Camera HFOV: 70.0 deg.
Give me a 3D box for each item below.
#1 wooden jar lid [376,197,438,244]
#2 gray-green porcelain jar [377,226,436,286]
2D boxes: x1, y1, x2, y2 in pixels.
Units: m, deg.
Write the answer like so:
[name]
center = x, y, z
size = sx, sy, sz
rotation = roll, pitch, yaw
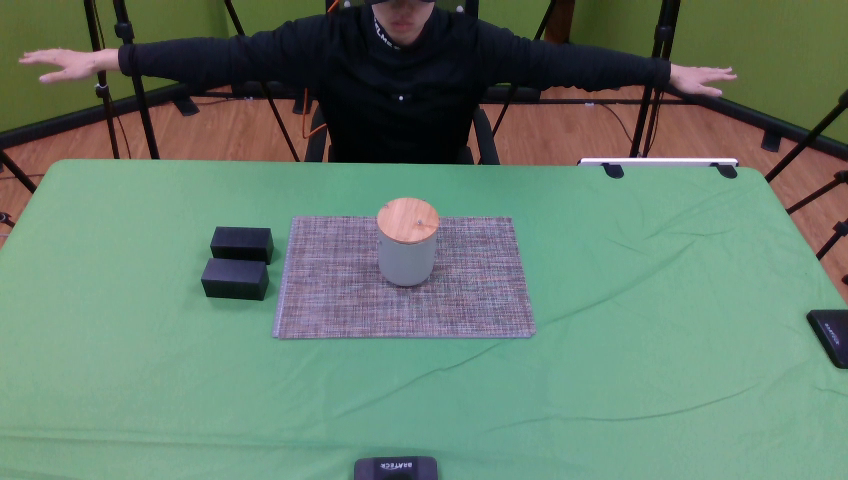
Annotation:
[wooden jar lid]
center = -0.029, -0.031, 1.060
size = 0.108, 0.021, 0.107
rotation = 2, 47, -2
[gray-green porcelain jar]
center = -0.033, 0.014, 1.105
size = 0.106, 0.127, 0.105
rotation = 2, 46, -2
